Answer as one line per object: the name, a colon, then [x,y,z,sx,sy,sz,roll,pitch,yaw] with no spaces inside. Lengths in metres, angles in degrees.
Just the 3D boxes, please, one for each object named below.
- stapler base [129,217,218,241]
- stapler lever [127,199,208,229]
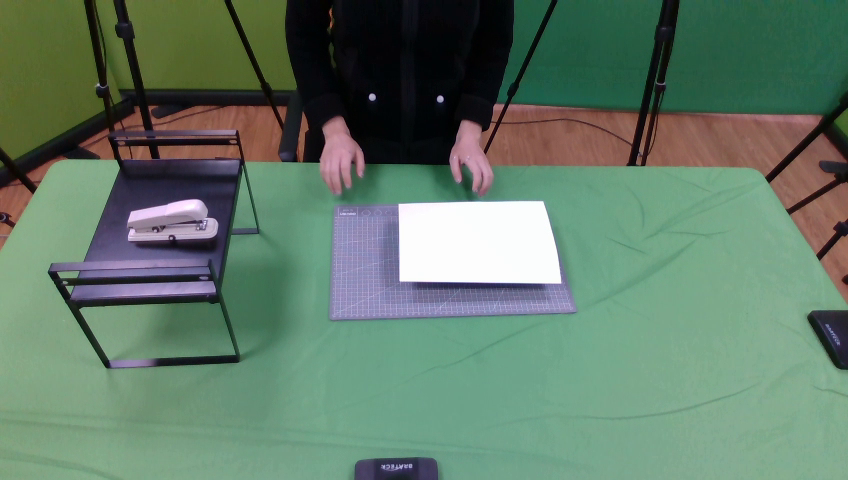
stapler base: [-0.390,-0.023,0.940,0.131,0.024,0.041,-4,43,-5]
stapler lever: [-0.391,-0.039,0.922,0.118,0.040,0.026,-3,43,-6]
